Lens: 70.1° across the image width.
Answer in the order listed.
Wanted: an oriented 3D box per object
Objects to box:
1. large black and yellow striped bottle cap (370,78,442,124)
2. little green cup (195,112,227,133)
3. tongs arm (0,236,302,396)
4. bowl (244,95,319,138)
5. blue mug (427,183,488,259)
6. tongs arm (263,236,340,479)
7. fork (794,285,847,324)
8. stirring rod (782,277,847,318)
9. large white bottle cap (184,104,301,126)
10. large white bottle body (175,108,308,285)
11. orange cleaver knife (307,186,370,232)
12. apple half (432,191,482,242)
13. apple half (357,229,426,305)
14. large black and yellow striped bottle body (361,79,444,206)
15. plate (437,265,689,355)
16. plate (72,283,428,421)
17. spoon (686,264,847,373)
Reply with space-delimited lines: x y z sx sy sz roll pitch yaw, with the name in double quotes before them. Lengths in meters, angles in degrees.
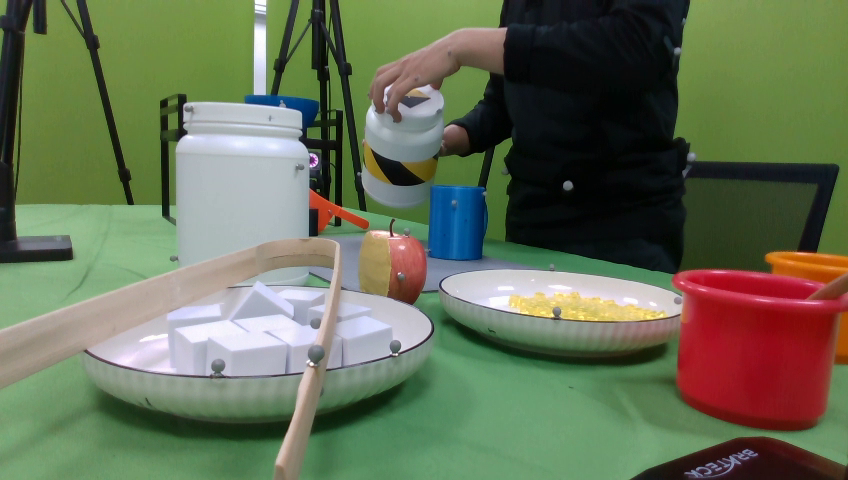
"large black and yellow striped bottle cap" -0.028 -0.222 0.958 0.115 0.019 0.114 6 44 -5
"little green cup" -0.412 -0.228 1.171 0.061 0.038 0.061 3 8 0
"tongs arm" -0.158 0.038 0.351 0.028 0.028 0.388 -3 8 11
"bowl" -0.293 -0.251 1.249 0.151 0.077 0.151 2 8 0
"blue mug" 0.059 -0.031 0.907 0.082 0.106 0.117 9 10 42
"tongs arm" -0.074 0.039 0.349 0.051 0.026 0.384 -2 9 -3
"fork" 0.332 0.018 0.442 0.028 0.018 0.207 -1 -36 -15
"stirring rod" 0.344 0.019 0.461 0.014 0.006 0.176 -13 -27 -30
"large white bottle cap" -0.184 -0.126 0.618 0.115 0.018 0.115 2 8 0
"large white bottle body" -0.188 -0.042 0.630 0.131 0.184 0.130 2 8 0
"orange cleaver knife" -0.197 -0.056 1.141 0.212 0.077 0.012 29 0 -35
"apple half" 0.048 -0.037 0.906 0.081 0.081 0.033 2 15 -2
"apple half" -0.026 0.028 0.570 0.053 0.074 0.080 3 2 -28
"large black and yellow striped bottle body" -0.038 -0.163 1.018 0.131 0.184 0.130 5 45 -5
"plate" 0.114 0.057 0.517 0.209 0.038 0.209 3 8 0
"plate" -0.102 0.066 0.381 0.208 0.039 0.207 2 7 0
"spoon" 0.215 0.032 0.328 0.042 0.021 0.193 -3 -35 -26
